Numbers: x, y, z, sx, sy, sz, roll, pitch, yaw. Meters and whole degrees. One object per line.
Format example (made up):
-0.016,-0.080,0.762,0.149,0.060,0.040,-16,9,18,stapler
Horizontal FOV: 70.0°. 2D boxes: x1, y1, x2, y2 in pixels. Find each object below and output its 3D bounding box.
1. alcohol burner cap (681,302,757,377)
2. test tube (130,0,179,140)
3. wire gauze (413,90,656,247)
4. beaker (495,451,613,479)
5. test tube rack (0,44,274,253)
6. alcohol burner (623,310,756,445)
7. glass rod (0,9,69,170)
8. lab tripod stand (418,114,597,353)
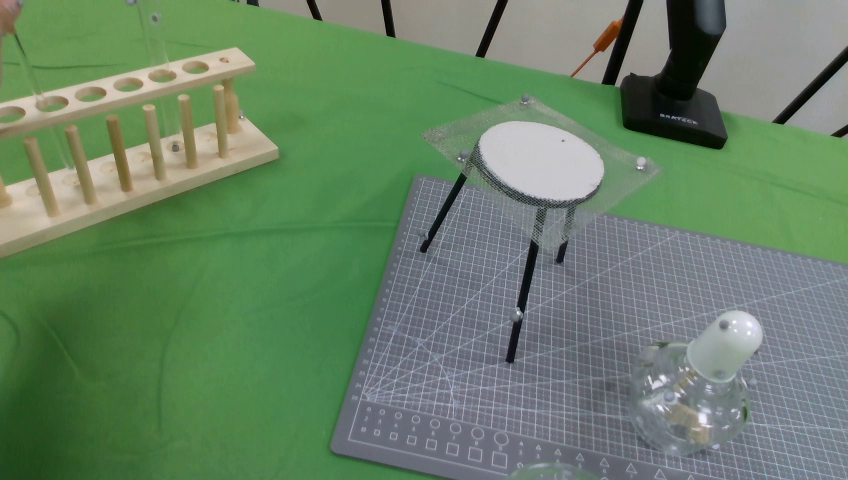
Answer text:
0.182,0.058,0.368,0.034,0.048,0.033,5,48,-5,alcohol burner cap
-0.223,-0.149,0.502,0.017,0.151,0.017,4,41,-3,test tube
0.074,-0.059,0.407,0.121,0.011,0.124,-28,58,-32,wire gauze
0.053,0.164,0.303,0.084,0.101,0.073,5,44,-5,beaker
-0.249,-0.084,0.503,0.242,0.086,0.066,-28,57,-33,test tube rack
0.177,0.083,0.395,0.078,0.120,0.077,7,44,-6,alcohol burner
-0.291,-0.133,0.427,0.008,0.201,0.008,1,41,0,glass rod
0.068,-0.012,0.454,0.149,0.132,0.147,7,45,-7,lab tripod stand
